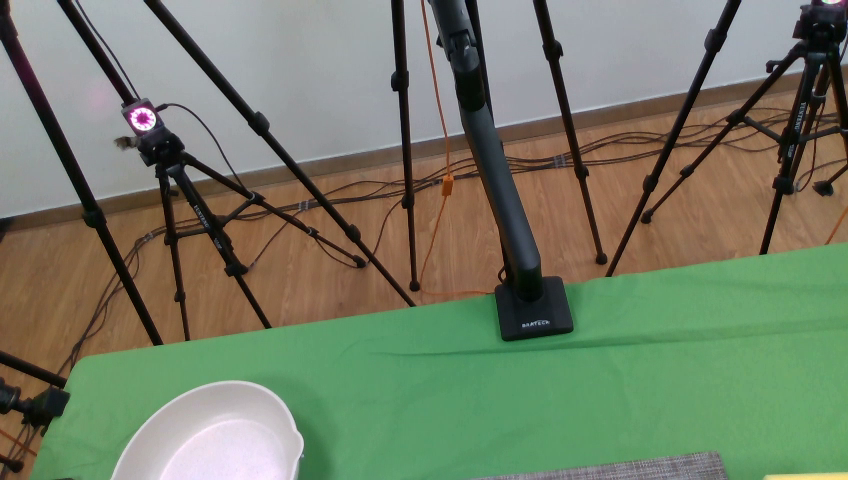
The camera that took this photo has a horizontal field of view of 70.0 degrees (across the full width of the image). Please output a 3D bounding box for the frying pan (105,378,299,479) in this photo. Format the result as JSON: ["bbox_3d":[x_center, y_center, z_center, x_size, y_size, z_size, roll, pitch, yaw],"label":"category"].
[{"bbox_3d":[-0.309,0.415,0.826,0.307,0.104,0.482,-15,39,2],"label":"frying pan"}]

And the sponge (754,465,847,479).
[{"bbox_3d":[0.450,0.354,0.650,0.118,0.061,0.205,-6,48,8],"label":"sponge"}]
